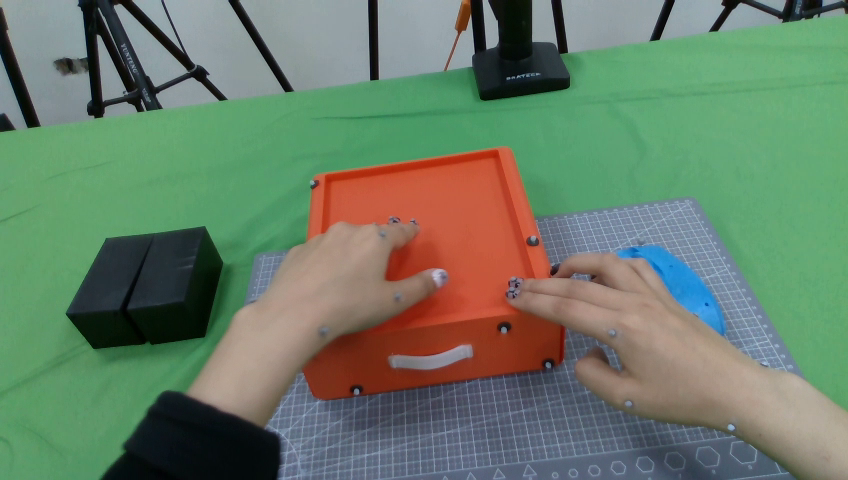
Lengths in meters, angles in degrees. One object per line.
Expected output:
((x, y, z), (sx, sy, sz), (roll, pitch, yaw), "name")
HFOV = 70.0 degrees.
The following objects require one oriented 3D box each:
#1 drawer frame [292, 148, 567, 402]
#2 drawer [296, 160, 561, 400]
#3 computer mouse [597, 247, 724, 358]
((-0.001, 0.022, 0.529), (0.202, 0.083, 0.211), (-9, 41, 1), "drawer frame")
((0.000, 0.024, 0.529), (0.194, 0.074, 0.209), (-9, 42, 2), "drawer")
((0.193, 0.045, 0.503), (0.063, 0.041, 0.116), (-14, 38, -2), "computer mouse")
